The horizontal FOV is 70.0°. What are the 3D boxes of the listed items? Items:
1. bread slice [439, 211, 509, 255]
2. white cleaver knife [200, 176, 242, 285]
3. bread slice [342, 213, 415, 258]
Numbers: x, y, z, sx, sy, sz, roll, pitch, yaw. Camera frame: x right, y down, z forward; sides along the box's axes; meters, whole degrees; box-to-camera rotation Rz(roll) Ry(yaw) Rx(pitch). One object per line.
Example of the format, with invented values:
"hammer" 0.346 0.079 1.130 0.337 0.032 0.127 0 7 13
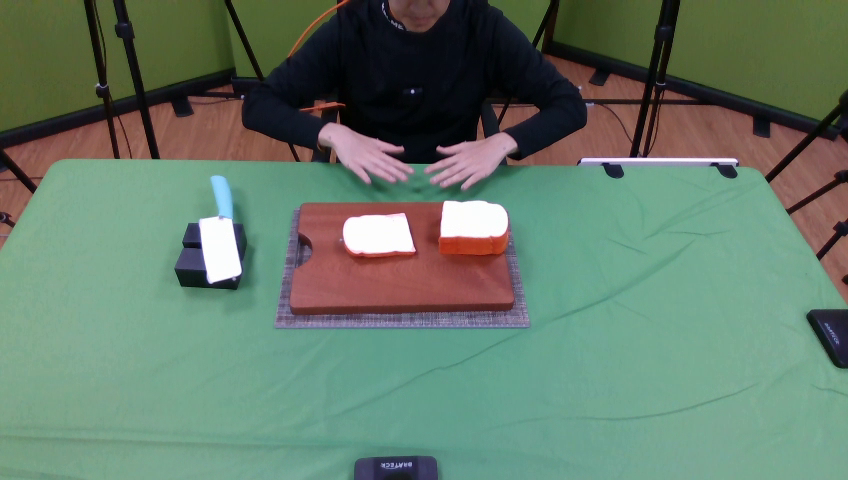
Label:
"bread slice" 0.097 -0.013 1.172 0.134 0.018 0.106 5 48 6
"white cleaver knife" -0.386 -0.028 1.136 0.066 0.021 0.284 -11 46 -14
"bread slice" -0.091 -0.008 1.154 0.132 0.019 0.104 -3 48 -14
